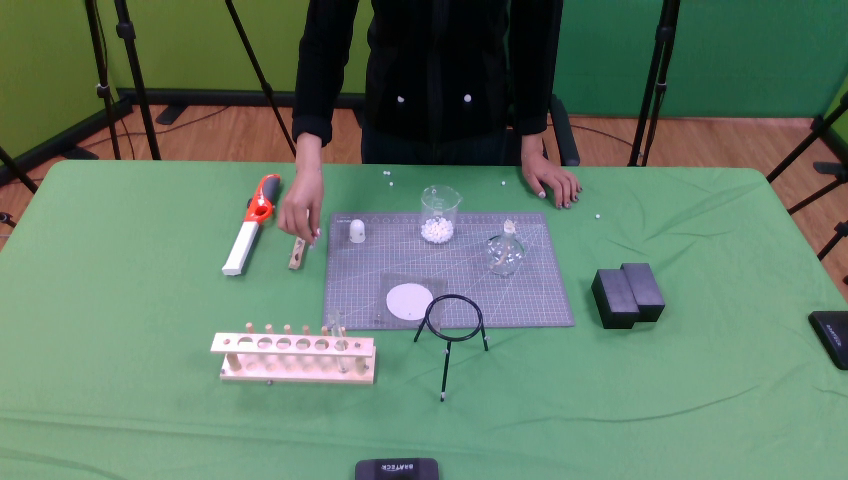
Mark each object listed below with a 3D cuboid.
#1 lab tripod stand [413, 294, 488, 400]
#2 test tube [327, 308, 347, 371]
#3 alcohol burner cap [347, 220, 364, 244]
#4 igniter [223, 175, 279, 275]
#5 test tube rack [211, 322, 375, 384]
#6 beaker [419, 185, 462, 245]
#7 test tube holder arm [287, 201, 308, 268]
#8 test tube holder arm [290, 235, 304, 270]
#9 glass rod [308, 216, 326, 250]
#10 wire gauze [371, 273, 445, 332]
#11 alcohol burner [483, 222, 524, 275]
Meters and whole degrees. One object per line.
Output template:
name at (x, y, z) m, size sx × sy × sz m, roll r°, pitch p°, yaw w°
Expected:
lab tripod stand at (0.045, 0.159, 0.972) m, size 0.148 × 0.132 × 0.147 m, roll 3°, pitch 44°, yaw -2°
test tube at (-0.132, 0.155, 0.926) m, size 0.017 × 0.151 × 0.017 m, roll 0°, pitch 45°, yaw 0°
alcohol burner cap at (-0.135, -0.019, 1.190) m, size 0.034 × 0.048 × 0.033 m, roll 3°, pitch 46°, yaw -2°
igniter at (-0.341, -0.039, 1.206) m, size 0.057 × 0.025 × 0.275 m, roll -1°, pitch 45°, yaw 8°
test tube rack at (-0.202, 0.176, 0.969) m, size 0.242 × 0.085 × 0.066 m, roll 3°, pitch 46°, yaw -2°
beaker at (0.029, -0.047, 1.191) m, size 0.084 × 0.101 × 0.073 m, roll -5°, pitch 47°, yaw -10°
test tube holder arm at (-0.248, -0.014, 1.193) m, size 0.013 × 0.015 × 0.177 m, roll 30°, pitch 38°, yaw -28°
test tube holder arm at (-0.243, 0.021, 1.164) m, size 0.010 × 0.015 × 0.087 m, roll 31°, pitch 38°, yaw -27°
glass rod at (-0.202, -0.016, 1.152) m, size 0.008 × 0.008 × 0.199 m, roll 2°, pitch 18°, yaw -2°
wire gauze at (-0.028, 0.108, 1.100) m, size 0.125 × 0.011 × 0.121 m, roll 7°, pitch 45°, yaw 4°
alcohol burner at (0.152, 0.009, 1.136) m, size 0.078 × 0.119 × 0.077 m, roll 4°, pitch 46°, yaw -4°
